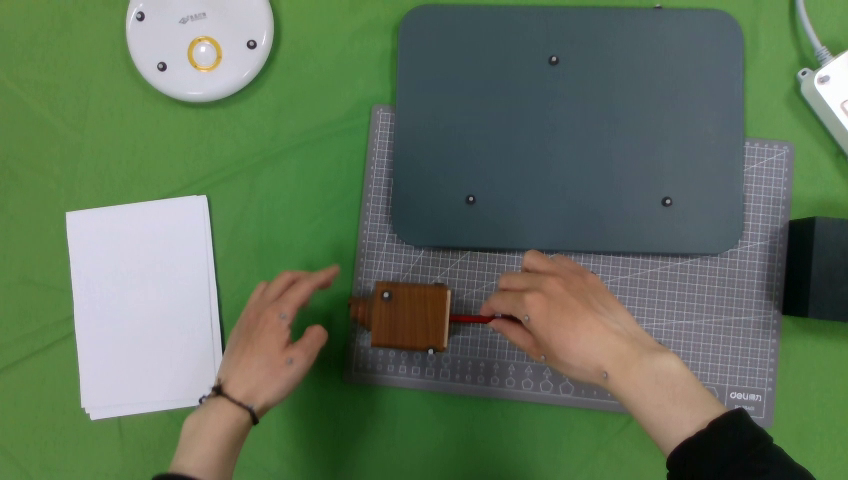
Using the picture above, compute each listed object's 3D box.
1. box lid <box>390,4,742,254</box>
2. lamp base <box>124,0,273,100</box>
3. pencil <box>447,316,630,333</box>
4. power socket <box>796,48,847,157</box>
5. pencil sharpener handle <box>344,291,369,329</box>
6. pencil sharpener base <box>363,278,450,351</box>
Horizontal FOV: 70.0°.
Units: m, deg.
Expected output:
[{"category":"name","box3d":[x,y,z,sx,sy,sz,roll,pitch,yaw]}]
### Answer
[{"category":"box lid","box3d":[0.151,-0.119,0.645,0.371,0.015,0.263,1,87,2]},{"category":"lamp base","box3d":[-0.252,-0.246,0.579,0.160,0.180,0.178,-26,84,0]},{"category":"pencil","box3d":[0.092,0.077,0.563,0.194,0.012,0.012,2,87,3]},{"category":"power socket","box3d":[0.478,-0.101,0.624,0.072,0.032,0.226,-34,86,0]},{"category":"pencil sharpener handle","box3d":[-0.066,0.064,0.581,0.030,0.068,0.036,4,93,3]},{"category":"pencil sharpener base","box3d":[-0.015,0.070,0.592,0.076,0.107,0.061,4,87,3]}]
